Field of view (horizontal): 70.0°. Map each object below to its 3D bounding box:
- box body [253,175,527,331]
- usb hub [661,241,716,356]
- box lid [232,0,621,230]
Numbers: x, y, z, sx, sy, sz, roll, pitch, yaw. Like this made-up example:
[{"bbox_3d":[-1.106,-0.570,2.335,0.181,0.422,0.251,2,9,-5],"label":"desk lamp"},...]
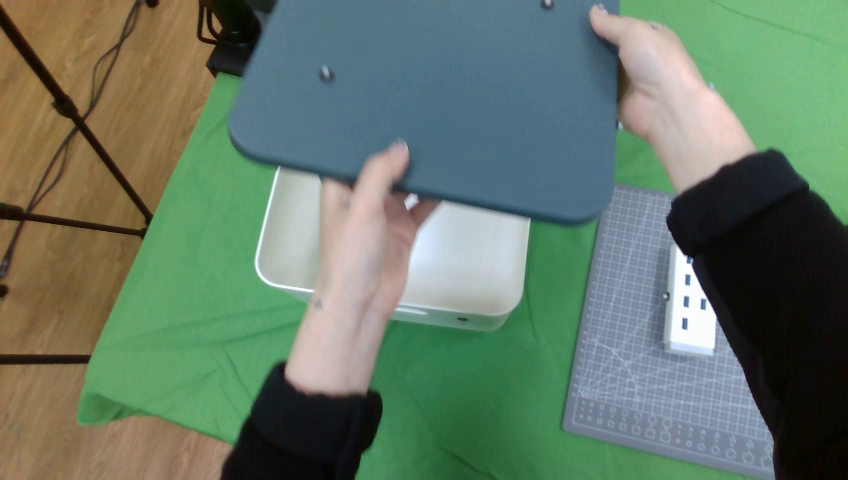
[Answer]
[{"bbox_3d":[-0.009,-0.092,0.677,0.254,0.161,0.362,7,74,6],"label":"box body"},{"bbox_3d":[0.297,0.064,0.679,0.049,0.025,0.124,9,75,6],"label":"usb hub"},{"bbox_3d":[0.025,-0.180,0.482,0.263,0.015,0.368,11,60,1],"label":"box lid"}]
